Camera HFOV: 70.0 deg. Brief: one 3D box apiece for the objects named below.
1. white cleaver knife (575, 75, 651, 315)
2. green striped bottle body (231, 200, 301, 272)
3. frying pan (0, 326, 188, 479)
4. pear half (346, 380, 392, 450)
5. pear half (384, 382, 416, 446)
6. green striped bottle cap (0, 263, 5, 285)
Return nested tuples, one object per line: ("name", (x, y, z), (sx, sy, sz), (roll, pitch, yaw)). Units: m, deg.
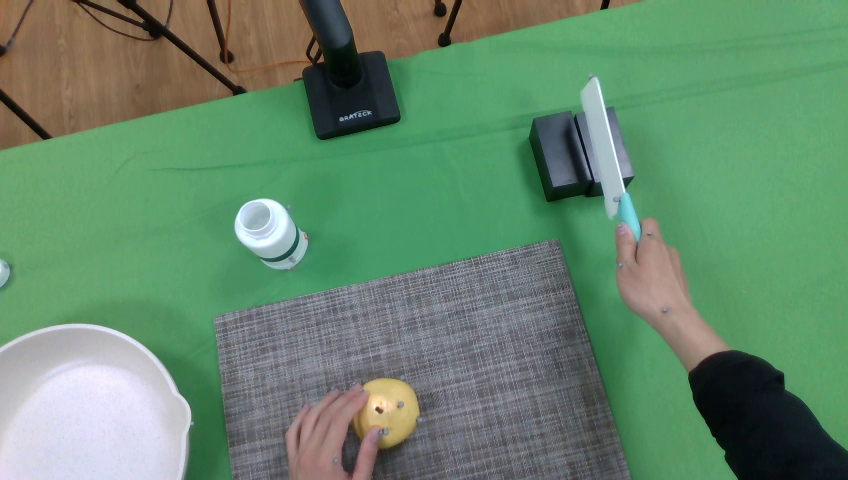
("white cleaver knife", (0.216, -0.055, 0.702), (0.021, 0.066, 0.285), (-8, 77, -3))
("green striped bottle body", (-0.193, -0.007, 0.736), (0.063, 0.120, 0.063), (0, 72, 2))
("frying pan", (-0.377, 0.334, 0.643), (0.307, 0.103, 0.483), (-17, 65, -3))
("pear half", (-0.061, 0.193, 0.672), (0.056, 0.110, 0.076), (-9, 68, 0))
("pear half", (-0.026, 0.193, 0.682), (0.031, 0.088, 0.070), (-8, 68, 0))
("green striped bottle cap", (-0.568, 0.046, 0.782), (0.044, 0.020, 0.044), (-1, 72, 2))
